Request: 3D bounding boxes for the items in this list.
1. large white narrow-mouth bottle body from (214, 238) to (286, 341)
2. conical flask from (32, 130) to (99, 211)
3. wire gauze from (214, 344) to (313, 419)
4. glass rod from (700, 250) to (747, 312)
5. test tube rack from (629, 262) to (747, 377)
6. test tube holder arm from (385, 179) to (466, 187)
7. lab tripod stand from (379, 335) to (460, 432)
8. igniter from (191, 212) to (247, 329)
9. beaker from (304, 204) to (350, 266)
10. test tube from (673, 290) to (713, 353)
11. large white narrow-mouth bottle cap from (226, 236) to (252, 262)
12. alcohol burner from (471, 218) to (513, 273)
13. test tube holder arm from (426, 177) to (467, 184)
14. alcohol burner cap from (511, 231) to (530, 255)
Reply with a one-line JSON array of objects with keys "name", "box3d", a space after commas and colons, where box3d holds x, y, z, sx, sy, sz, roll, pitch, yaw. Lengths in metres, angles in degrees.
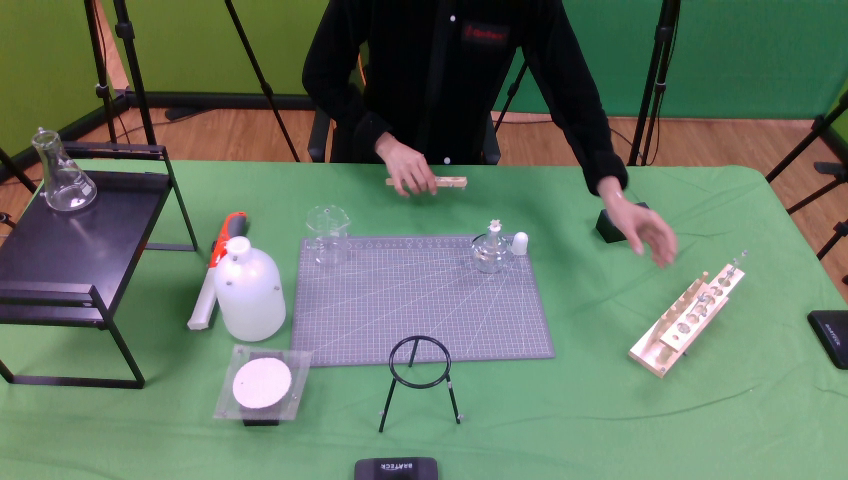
[{"name": "large white narrow-mouth bottle body", "box3d": [-0.285, 0.073, 0.986, 0.102, 0.195, 0.101, 2, 46, -2]}, {"name": "conical flask", "box3d": [-0.565, -0.111, 0.944, 0.075, 0.122, 0.075, 2, 46, -2]}, {"name": "wire gauze", "box3d": [-0.241, 0.213, 0.915, 0.121, 0.011, 0.124, 5, 46, 1]}, {"name": "glass rod", "box3d": [0.500, 0.075, 1.021, 0.008, 0.201, 0.008, 0, 54, 1]}, {"name": "test tube rack", "box3d": [0.464, 0.126, 1.061, 0.242, 0.085, 0.066, -34, 56, -30]}, {"name": "test tube holder arm", "box3d": [0.000, -0.116, 1.223, 0.178, 0.015, 0.013, 2, 30, 25]}, {"name": "lab tripod stand", "box3d": [-0.011, 0.214, 0.911, 0.148, 0.132, 0.147, 1, 45, 0]}, {"name": "igniter", "box3d": [-0.376, 0.047, 1.121, 0.057, 0.025, 0.275, -4, 46, 6]}, {"name": "beaker", "box3d": [-0.178, -0.006, 1.132, 0.084, 0.101, 0.073, 4, 46, -1]}, {"name": "test tube", "box3d": [0.429, 0.135, 0.981, 0.017, 0.151, 0.017, 4, 44, -4]}, {"name": "large white narrow-mouth bottle cap", "box3d": [-0.282, 0.014, 0.923, 0.038, 0.024, 0.037, 2, 46, -2]}, {"name": "alcohol burner", "box3d": [0.128, 0.005, 1.132, 0.078, 0.120, 0.077, 0, 47, 0]}, {"name": "test tube holder arm", "box3d": [0.043, -0.117, 1.209, 0.087, 0.015, 0.010, 2, 30, 25]}, {"name": "alcohol burner cap", "box3d": [0.191, 0.003, 1.188, 0.034, 0.048, 0.033, 2, 46, -2]}]
